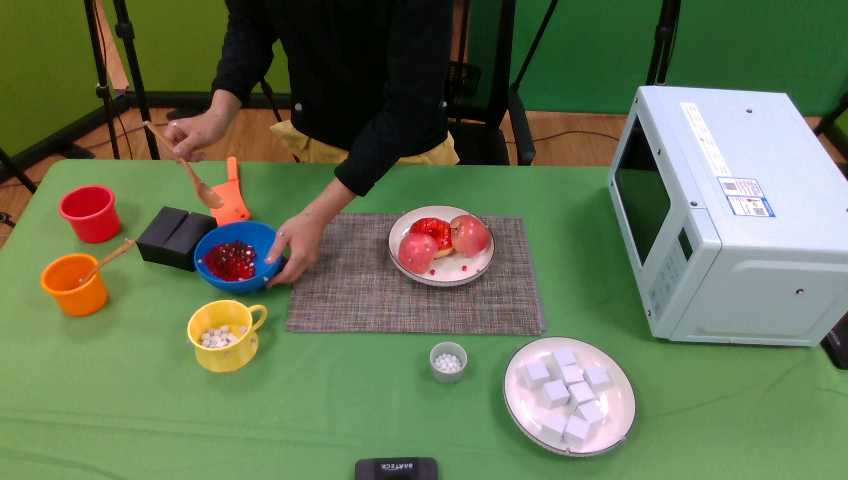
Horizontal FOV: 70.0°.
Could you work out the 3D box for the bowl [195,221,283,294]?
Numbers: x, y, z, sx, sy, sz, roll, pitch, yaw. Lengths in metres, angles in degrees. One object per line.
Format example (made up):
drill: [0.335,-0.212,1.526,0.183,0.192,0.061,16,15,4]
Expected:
bowl: [-0.326,0.044,1.092,0.151,0.077,0.150,1,46,-1]

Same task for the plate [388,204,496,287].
plate: [0.033,0.014,1.171,0.209,0.038,0.208,2,46,-2]

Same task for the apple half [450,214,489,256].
apple half: [0.092,-0.013,1.158,0.075,0.053,0.080,34,39,-28]

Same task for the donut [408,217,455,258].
donut: [0.019,-0.006,1.174,0.099,0.048,0.098,4,42,-3]

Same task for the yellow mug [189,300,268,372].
yellow mug: [-0.316,0.148,1.002,0.131,0.064,0.099,-32,55,-31]

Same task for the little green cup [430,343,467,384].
little green cup: [0.039,0.203,0.993,0.061,0.039,0.061,2,46,-2]

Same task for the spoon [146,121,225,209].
spoon: [-0.426,-0.134,1.084,0.021,0.194,0.041,-25,16,32]

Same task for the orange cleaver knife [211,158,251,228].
orange cleaver knife: [-0.409,-0.099,1.266,0.077,0.012,0.210,-14,49,-10]

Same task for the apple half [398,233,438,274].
apple half: [-0.016,0.022,1.123,0.081,0.033,0.081,-2,83,14]

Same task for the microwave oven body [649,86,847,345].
microwave oven body: [0.568,-0.053,1.118,0.326,0.261,0.439,2,45,-1]

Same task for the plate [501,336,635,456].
plate: [0.225,0.248,0.963,0.208,0.039,0.206,2,46,-2]

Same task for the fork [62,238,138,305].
fork: [-0.547,0.053,1.018,0.207,0.019,0.028,-36,41,23]

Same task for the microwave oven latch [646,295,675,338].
microwave oven latch: [0.412,0.134,1.061,0.030,0.029,0.078,4,45,1]

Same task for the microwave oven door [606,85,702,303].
microwave oven door: [0.423,-0.094,1.140,0.039,0.245,0.353,2,46,-1]
